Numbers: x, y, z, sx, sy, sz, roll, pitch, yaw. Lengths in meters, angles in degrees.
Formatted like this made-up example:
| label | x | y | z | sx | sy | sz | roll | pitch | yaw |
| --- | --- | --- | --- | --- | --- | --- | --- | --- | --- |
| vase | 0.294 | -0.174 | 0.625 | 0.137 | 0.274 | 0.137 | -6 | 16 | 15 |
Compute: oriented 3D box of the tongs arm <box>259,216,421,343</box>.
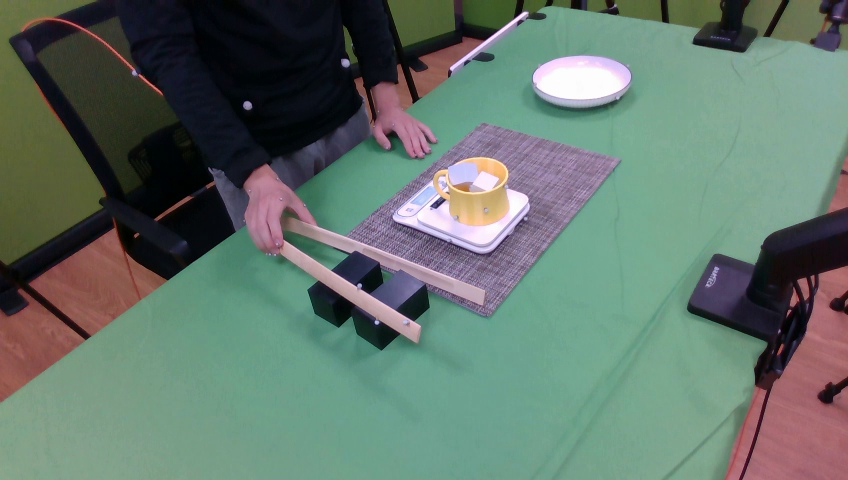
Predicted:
| label | x | y | z | sx | sy | sz | roll | pitch | yaw |
| --- | --- | --- | --- | --- | --- | --- | --- | --- | --- |
| tongs arm | -0.130 | 0.045 | 0.865 | 0.381 | 0.026 | 0.051 | 26 | 31 | 35 |

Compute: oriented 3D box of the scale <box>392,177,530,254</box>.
| label | x | y | z | sx | sy | sz | roll | pitch | yaw |
| --- | --- | --- | --- | --- | --- | --- | --- | --- | --- |
| scale | 0.060 | -0.050 | 1.006 | 0.199 | 0.032 | 0.149 | 22 | 48 | 30 |

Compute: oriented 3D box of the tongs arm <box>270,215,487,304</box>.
| label | x | y | z | sx | sy | sz | roll | pitch | yaw |
| --- | --- | --- | --- | --- | --- | --- | --- | --- | --- |
| tongs arm | -0.080 | 0.025 | 0.926 | 0.385 | 0.028 | 0.028 | 19 | 31 | 24 |

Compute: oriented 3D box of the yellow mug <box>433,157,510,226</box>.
| label | x | y | z | sx | sy | sz | roll | pitch | yaw |
| --- | --- | --- | --- | --- | --- | --- | --- | --- | --- |
| yellow mug | 0.072 | -0.082 | 0.968 | 0.130 | 0.064 | 0.100 | 13 | 45 | 24 |

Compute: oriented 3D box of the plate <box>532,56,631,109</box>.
| label | x | y | z | sx | sy | sz | roll | pitch | yaw |
| --- | --- | --- | --- | --- | --- | --- | --- | --- | --- |
| plate | 0.336 | -0.335 | 1.301 | 0.207 | 0.039 | 0.206 | -4 | 41 | 4 |
